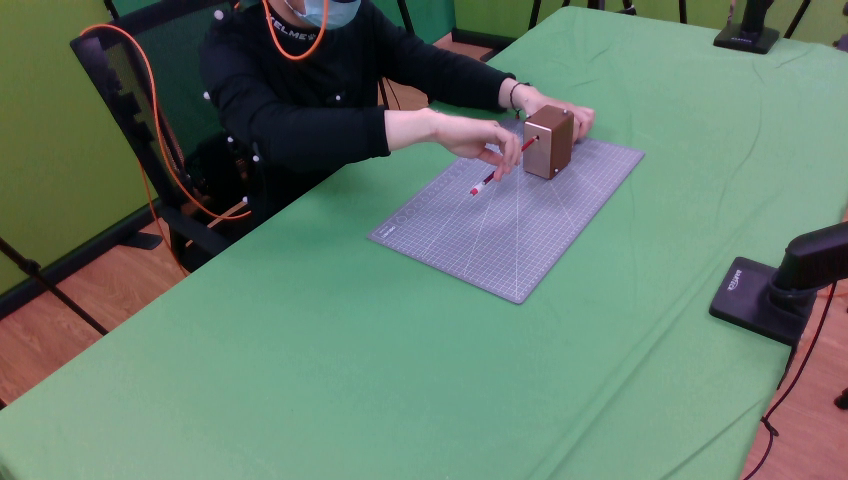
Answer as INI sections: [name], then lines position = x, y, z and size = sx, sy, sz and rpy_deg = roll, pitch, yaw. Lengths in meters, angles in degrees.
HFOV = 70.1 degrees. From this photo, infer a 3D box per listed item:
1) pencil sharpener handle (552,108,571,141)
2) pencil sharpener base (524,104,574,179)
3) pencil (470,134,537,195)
[pencil sharpener handle]
position = 0.254, -0.213, 1.091
size = 0.035, 0.068, 0.031
rpy_deg = 28, 51, 32
[pencil sharpener base]
position = 0.222, -0.176, 1.071
size = 0.061, 0.107, 0.077
rpy_deg = 26, 51, 33
[pencil]
position = 0.134, -0.127, 0.984
size = 0.012, 0.012, 0.194
rpy_deg = 25, 51, 31
